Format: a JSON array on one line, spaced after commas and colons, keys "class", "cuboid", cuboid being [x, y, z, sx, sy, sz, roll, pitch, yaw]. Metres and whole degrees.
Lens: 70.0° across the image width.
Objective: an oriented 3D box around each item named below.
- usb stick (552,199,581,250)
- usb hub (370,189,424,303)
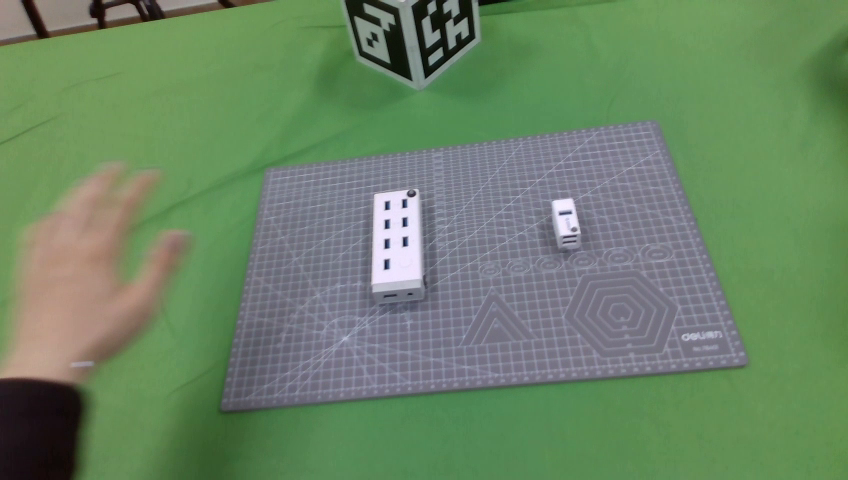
[{"class": "usb stick", "cuboid": [0.138, -0.020, 0.592, 0.021, 0.027, 0.058, -6, 50, 7]}, {"class": "usb hub", "cuboid": [-0.026, 0.004, 0.603, 0.049, 0.025, 0.124, -5, 52, 5]}]
